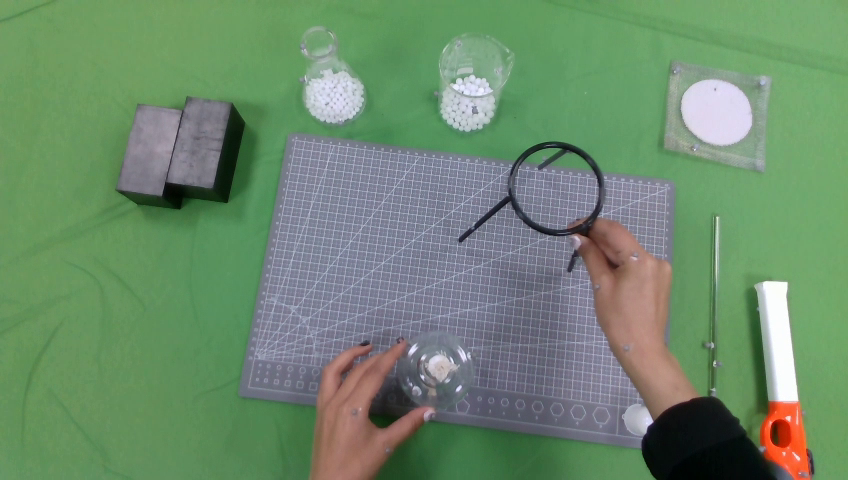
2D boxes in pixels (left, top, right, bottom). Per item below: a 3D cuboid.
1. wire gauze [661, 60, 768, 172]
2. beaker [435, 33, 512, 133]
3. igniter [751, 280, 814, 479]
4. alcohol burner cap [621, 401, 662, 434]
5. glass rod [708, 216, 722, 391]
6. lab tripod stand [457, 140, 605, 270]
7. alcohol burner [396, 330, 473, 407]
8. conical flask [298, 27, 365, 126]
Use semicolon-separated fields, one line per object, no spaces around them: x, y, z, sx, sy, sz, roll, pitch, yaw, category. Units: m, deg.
0.345;-0.150;0.720;0.125;0.011;0.121;12;78;0;wire gauze
0.052;-0.170;0.671;0.084;0.100;0.073;-19;78;-6;beaker
0.376;0.179;0.637;0.057;0.025;0.275;3;78;-11;igniter
0.226;0.183;0.622;0.034;0.048;0.033;0;76;-1;alcohol burner cap
0.324;0.067;0.675;0.008;0.008;0.198;10;75;1;glass rod
0.111;-0.032;0.608;0.148;0.132;0.147;1;79;-4;lab tripod stand
0.011;0.125;0.595;0.078;0.119;0.077;1;76;-3;alcohol burner
-0.106;-0.181;0.658;0.075;0.122;0.075;0;77;-1;conical flask
